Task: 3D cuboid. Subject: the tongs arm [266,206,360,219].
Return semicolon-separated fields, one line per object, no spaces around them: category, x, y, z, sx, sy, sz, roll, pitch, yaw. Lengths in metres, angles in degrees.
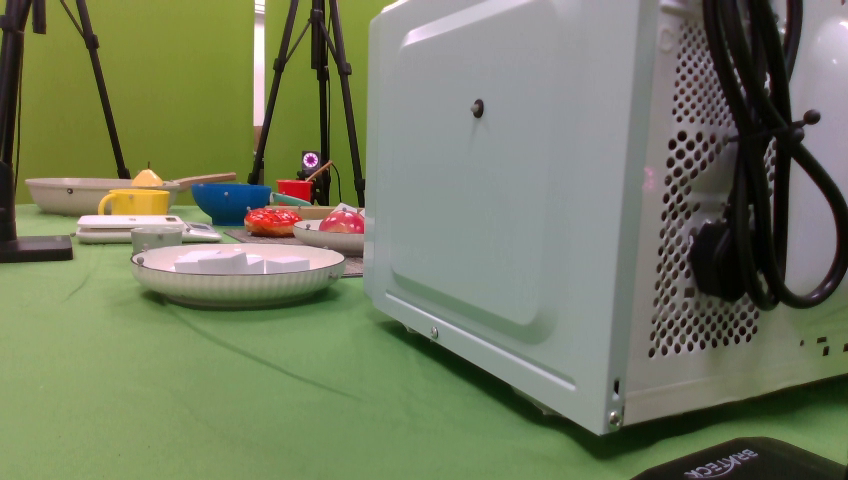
tongs arm;-0.173;-0.061;1.362;0.387;0.026;0.050;-1;4;-31

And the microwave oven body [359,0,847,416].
microwave oven body;0.211;-0.047;0.474;0.444;0.260;0.324;-1;7;-28

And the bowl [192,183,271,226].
bowl;-0.382;-0.071;1.202;0.151;0.077;0.151;3;7;0

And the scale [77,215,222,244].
scale;-0.434;-0.019;0.963;0.202;0.031;0.148;-1;9;-27

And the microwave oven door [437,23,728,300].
microwave oven door;0.180;-0.072;0.621;0.358;0.243;0.039;-2;8;-29

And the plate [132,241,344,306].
plate;-0.187;0.033;0.625;0.208;0.039;0.207;2;8;0

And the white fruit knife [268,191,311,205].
white fruit knife;-0.364;-0.105;1.463;0.208;0.027;0.016;15;-2;-34

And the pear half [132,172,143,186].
pear half;-0.638;-0.113;1.361;0.031;0.088;0.070;5;10;4

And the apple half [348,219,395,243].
apple half;-0.083;-0.018;0.967;0.081;0.033;0.081;5;10;-1

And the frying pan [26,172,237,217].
frying pan;-0.624;-0.118;1.387;0.305;0.102;0.490;8;17;32

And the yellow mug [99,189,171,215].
yellow mug;-0.519;-0.055;1.080;0.099;0.064;0.131;7;9;26

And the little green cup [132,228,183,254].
little green cup;-0.342;0.006;0.779;0.061;0.038;0.061;2;8;0

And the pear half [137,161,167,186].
pear half;-0.602;-0.120;1.354;0.056;0.110;0.076;4;11;6

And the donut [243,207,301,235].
donut;-0.261;-0.032;1.043;0.099;0.048;0.099;4;9;0

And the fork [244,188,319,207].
fork;-0.356;-0.105;1.526;0.208;0.018;0.028;16;-5;-41

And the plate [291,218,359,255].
plate;-0.098;-0.007;0.928;0.209;0.038;0.209;2;8;0

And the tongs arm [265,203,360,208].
tongs arm;-0.209;-0.069;1.438;0.389;0.027;0.028;1;0;-17

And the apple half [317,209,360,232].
apple half;-0.121;-0.020;0.900;0.080;0.053;0.075;4;11;14

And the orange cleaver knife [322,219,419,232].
orange cleaver knife;-0.097;-0.027;1.153;0.077;0.012;0.212;1;6;41

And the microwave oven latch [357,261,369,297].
microwave oven latch;-0.019;0.033;0.531;0.079;0.029;0.030;-1;7;-26

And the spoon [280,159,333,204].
spoon;-0.317;-0.159;1.640;0.194;0.022;0.041;-49;31;-20
